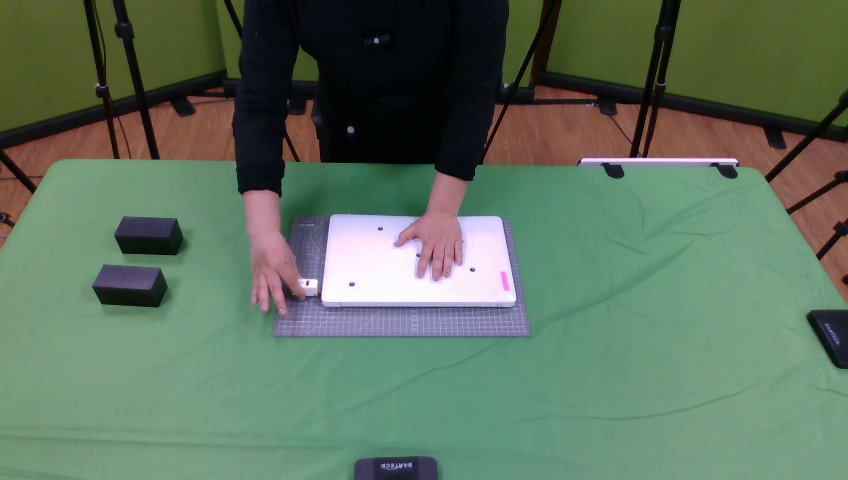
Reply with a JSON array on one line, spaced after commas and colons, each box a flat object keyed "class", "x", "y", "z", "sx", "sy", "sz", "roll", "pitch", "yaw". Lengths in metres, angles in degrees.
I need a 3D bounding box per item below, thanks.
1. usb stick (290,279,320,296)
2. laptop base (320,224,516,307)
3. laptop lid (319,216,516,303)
[{"class": "usb stick", "x": -0.207, "y": 0.085, "z": 1.084, "sx": 0.059, "sy": 0.027, "sz": 0.021, "roll": 5, "pitch": 47, "yaw": 3}, {"class": "laptop base", "x": -0.013, "y": 0.040, "z": 1.160, "sx": 0.355, "sy": 0.023, "sz": 0.234, "roll": 0, "pitch": 41, "yaw": -4}, {"class": "laptop lid", "x": -0.013, "y": 0.032, "z": 1.155, "sx": 0.357, "sy": 0.013, "sz": 0.240, "roll": 2, "pitch": 42, "yaw": -3}]
